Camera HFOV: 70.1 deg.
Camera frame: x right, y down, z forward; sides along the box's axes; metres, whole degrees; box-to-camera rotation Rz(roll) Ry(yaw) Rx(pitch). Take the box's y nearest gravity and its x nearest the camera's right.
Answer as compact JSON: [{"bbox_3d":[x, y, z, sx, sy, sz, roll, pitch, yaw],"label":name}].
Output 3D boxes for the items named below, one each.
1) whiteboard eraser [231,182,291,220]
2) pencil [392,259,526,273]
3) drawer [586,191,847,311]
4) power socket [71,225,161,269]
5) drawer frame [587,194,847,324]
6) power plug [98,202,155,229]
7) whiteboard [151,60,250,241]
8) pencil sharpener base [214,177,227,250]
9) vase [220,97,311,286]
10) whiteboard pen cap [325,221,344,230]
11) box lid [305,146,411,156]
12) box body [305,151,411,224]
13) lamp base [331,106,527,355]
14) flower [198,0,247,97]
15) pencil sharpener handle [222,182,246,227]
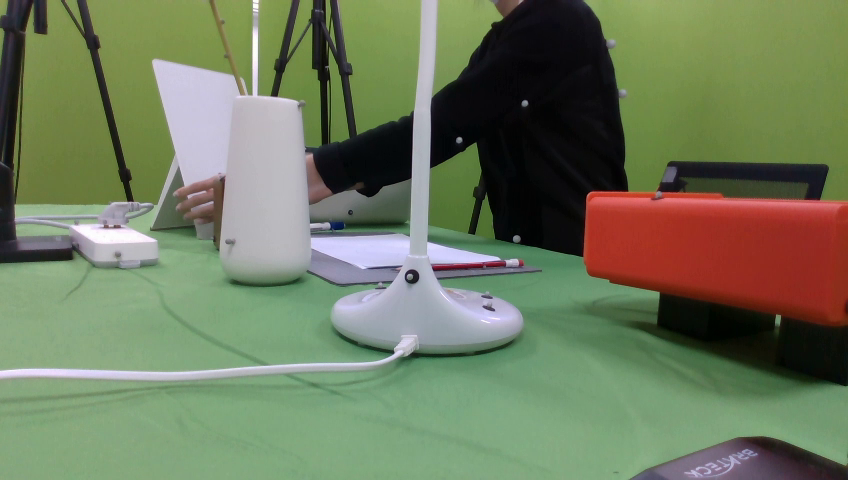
[{"bbox_3d":[-0.293,-0.067,1.084,0.042,0.055,0.113,-36,-20,21],"label":"whiteboard eraser"},{"bbox_3d":[0.049,0.035,0.782,0.195,0.012,0.012,-2,9,-25],"label":"pencil"},{"bbox_3d":[0.282,0.001,0.513,0.195,0.073,0.210,0,7,-29],"label":"drawer"},{"bbox_3d":[-0.408,0.004,0.793,0.072,0.032,0.225,-2,8,-38],"label":"power socket"},{"bbox_3d":[0.285,0.004,0.508,0.203,0.082,0.212,-1,6,-29],"label":"drawer frame"},{"bbox_3d":[-0.416,-0.026,0.848,0.073,0.052,0.035,0,8,-28],"label":"power plug"},{"bbox_3d":[-0.408,-0.139,1.093,0.143,0.305,0.218,-15,0,26],"label":"whiteboard"},{"bbox_3d":[-0.265,-0.036,0.870,0.061,0.107,0.076,-2,8,-29],"label":"pencil sharpener base"},{"bbox_3d":[-0.172,-0.052,0.662,0.098,0.200,0.098,3,8,0],"label":"vase"},{"bbox_3d":[-0.166,-0.027,1.123,0.018,0.018,0.033,9,10,40],"label":"whiteboard pen cap"},{"bbox_3d":[-0.229,-0.200,1.360,0.373,0.015,0.262,-3,9,-33],"label":"box lid"},{"bbox_3d":[-0.230,-0.126,1.371,0.366,0.160,0.253,-2,8,-33],"label":"box body"},{"bbox_3d":[0.006,-0.012,0.478,0.161,0.180,0.179,2,10,2],"label":"lamp base"},{"bbox_3d":[-0.187,-0.133,0.648,0.038,0.362,0.044,-1,22,43],"label":"flower"},{"bbox_3d":[-0.289,-0.055,0.912,0.036,0.067,0.030,-1,8,-29],"label":"pencil sharpener handle"}]
